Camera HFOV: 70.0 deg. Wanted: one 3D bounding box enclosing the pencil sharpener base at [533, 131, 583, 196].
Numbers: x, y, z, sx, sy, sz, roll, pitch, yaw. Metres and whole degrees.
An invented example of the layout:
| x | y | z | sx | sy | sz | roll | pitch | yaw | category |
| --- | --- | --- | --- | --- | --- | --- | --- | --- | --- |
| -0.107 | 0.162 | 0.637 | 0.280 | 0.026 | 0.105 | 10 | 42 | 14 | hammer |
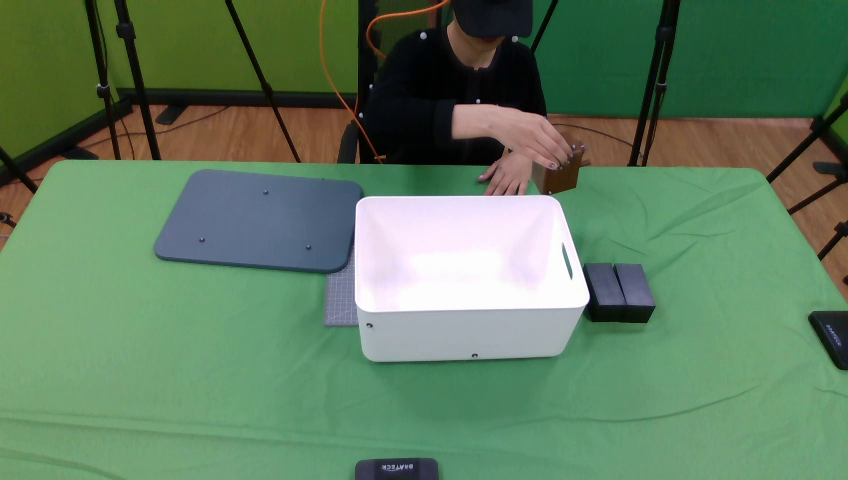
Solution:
| x | y | z | sx | sy | sz | roll | pitch | yaw | category |
| --- | --- | --- | --- | --- | --- | --- | --- | --- | --- |
| 0.250 | -0.142 | 1.132 | 0.077 | 0.107 | 0.061 | -16 | 54 | -5 | pencil sharpener base |

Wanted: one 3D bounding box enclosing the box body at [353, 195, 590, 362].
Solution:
| x | y | z | sx | sy | sz | roll | pitch | yaw | category |
| --- | --- | --- | --- | --- | --- | --- | --- | --- | --- |
| 0.065 | 0.066 | 1.040 | 0.364 | 0.161 | 0.252 | -1 | 46 | -5 | box body |

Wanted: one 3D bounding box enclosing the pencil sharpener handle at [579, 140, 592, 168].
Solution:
| x | y | z | sx | sy | sz | roll | pitch | yaw | category |
| --- | --- | --- | --- | --- | --- | --- | --- | --- | --- |
| 0.298 | -0.162 | 1.126 | 0.030 | 0.068 | 0.035 | -16 | 51 | -5 | pencil sharpener handle |

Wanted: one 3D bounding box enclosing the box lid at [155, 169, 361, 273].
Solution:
| x | y | z | sx | sy | sz | roll | pitch | yaw | category |
| --- | --- | --- | --- | --- | --- | --- | --- | --- | --- |
| -0.321 | -0.044 | 1.225 | 0.371 | 0.015 | 0.261 | 4 | 46 | 1 | box lid |
